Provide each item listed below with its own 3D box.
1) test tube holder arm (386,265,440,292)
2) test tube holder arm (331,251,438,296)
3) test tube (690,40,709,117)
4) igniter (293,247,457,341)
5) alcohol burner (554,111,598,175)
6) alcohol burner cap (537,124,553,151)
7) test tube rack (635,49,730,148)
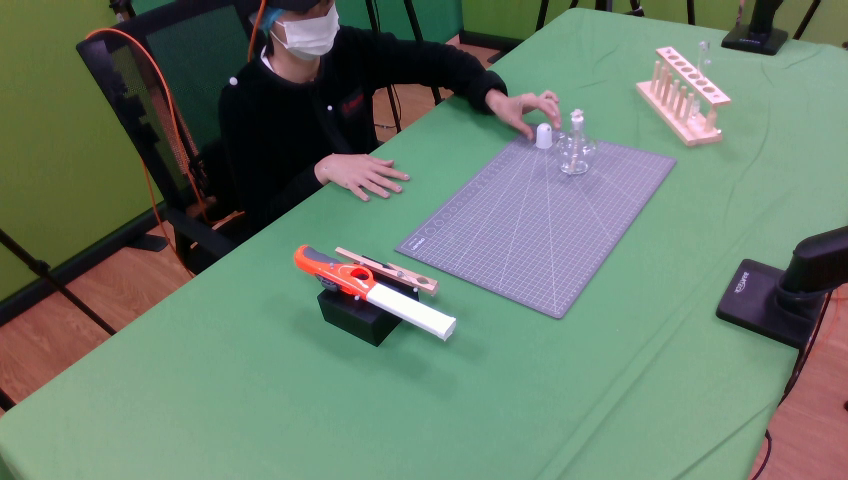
[{"bbox_3d":[-0.018,0.055,0.843,0.087,0.015,0.010,18,46,26],"label":"test tube holder arm"},{"bbox_3d":[-0.060,0.046,0.859,0.177,0.015,0.013,16,45,24],"label":"test tube holder arm"},{"bbox_3d":[0.510,-0.295,1.120,0.017,0.151,0.017,-6,39,6],"label":"test tube"},{"bbox_3d":[-0.077,0.068,0.830,0.274,0.025,0.057,22,48,27],"label":"igniter"},{"bbox_3d":[0.270,-0.175,1.066,0.078,0.119,0.077,-4,42,4],"label":"alcohol burner"},{"bbox_3d":[0.232,-0.199,1.158,0.034,0.048,0.033,-6,40,5],"label":"alcohol burner cap"},{"bbox_3d":[0.497,-0.283,1.185,0.067,0.085,0.240,-10,40,-2],"label":"test tube rack"}]
